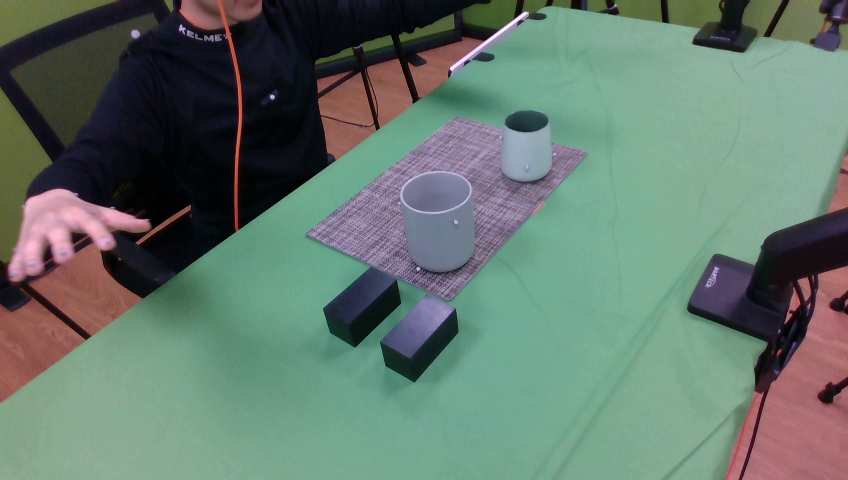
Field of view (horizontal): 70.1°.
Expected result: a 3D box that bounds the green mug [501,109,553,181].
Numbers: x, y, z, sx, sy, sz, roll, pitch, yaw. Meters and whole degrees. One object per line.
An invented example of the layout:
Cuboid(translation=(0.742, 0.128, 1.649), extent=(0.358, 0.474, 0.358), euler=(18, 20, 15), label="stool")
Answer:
Cuboid(translation=(0.177, -0.177, 1.079), extent=(0.093, 0.105, 0.124), euler=(-13, 41, -6), label="green mug")

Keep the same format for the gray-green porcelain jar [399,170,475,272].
Cuboid(translation=(0.023, -0.024, 0.907), extent=(0.106, 0.127, 0.105), euler=(-4, 41, 4), label="gray-green porcelain jar")
